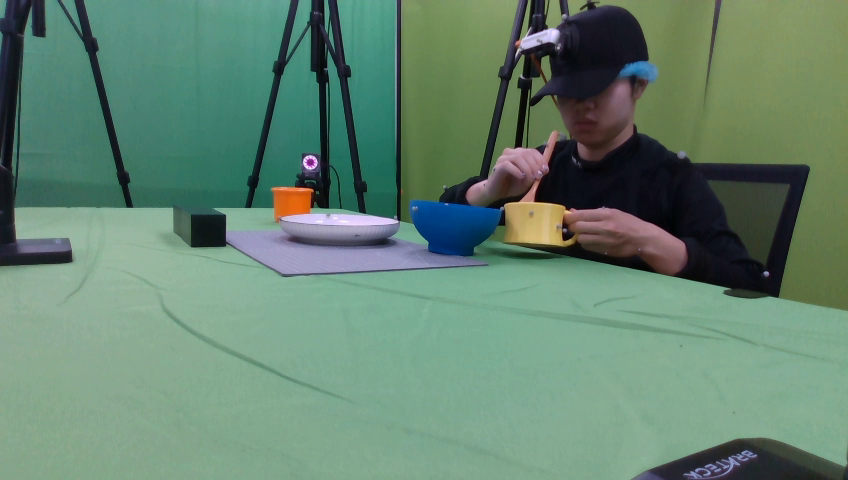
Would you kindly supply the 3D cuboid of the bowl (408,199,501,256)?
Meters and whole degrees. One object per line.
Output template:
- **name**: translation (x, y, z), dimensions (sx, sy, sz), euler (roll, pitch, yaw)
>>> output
- **bowl**: translation (0.045, -0.019, 0.967), dimensions (0.151, 0.077, 0.151), euler (6, 5, 0)

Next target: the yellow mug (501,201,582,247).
- **yellow mug**: translation (0.193, -0.023, 0.983), dimensions (0.131, 0.064, 0.100), euler (5, -4, -7)

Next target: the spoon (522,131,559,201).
- **spoon**: translation (0.186, -0.097, 0.990), dimensions (0.041, 0.193, 0.022), euler (13, -23, 28)

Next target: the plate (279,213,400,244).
- **plate**: translation (-0.147, -0.020, 1.060), dimensions (0.209, 0.038, 0.209), euler (3, 7, 0)
